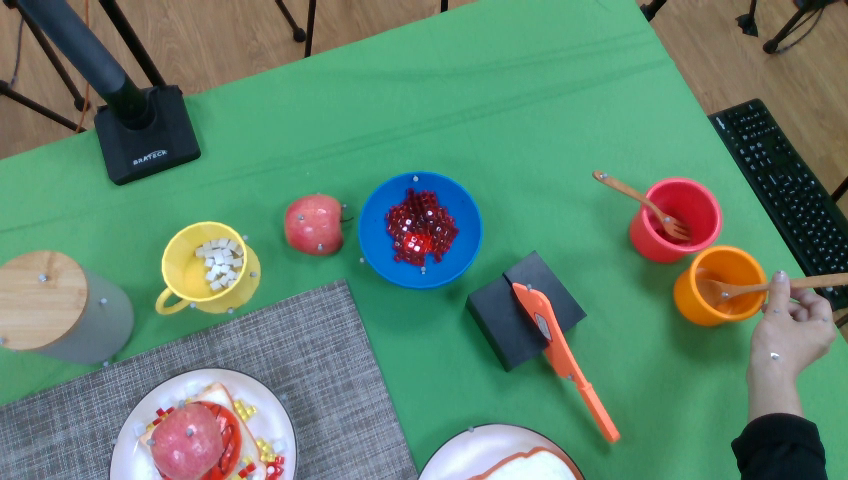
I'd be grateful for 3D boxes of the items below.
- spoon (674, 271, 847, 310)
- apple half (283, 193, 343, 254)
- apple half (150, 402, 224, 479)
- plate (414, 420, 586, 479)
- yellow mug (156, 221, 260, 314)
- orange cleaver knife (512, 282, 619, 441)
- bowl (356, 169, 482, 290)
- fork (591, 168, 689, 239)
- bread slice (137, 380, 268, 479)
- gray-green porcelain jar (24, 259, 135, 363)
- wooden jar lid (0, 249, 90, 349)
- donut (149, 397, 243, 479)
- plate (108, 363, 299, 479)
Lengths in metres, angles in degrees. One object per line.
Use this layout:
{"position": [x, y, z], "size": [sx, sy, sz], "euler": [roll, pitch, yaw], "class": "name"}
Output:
{"position": [0.391, 0.055, 0.707], "size": [0.022, 0.193, 0.041], "euler": [21, 66, -40], "class": "spoon"}
{"position": [-0.143, -0.026, 0.774], "size": [0.074, 0.053, 0.080], "euler": [0, 72, 2], "class": "apple half"}
{"position": [-0.250, 0.210, 0.629], "size": [0.081, 0.033, 0.081], "euler": [-2, 71, 6], "class": "apple half"}
{"position": [0.084, 0.309, 0.674], "size": [0.209, 0.038, 0.207], "euler": [0, 72, 0], "class": "plate"}
{"position": [-0.271, 0.044, 0.741], "size": [0.131, 0.064, 0.099], "euler": [-43, 77, -13], "class": "yellow mug"}
{"position": [0.162, 0.140, 0.709], "size": [0.012, 0.077, 0.212], "euler": [-31, 96, -18], "class": "orange cleaver knife"}
{"position": [-0.006, -0.003, 0.755], "size": [0.151, 0.077, 0.150], "euler": [0, 72, -1], "class": "bowl"}
{"position": [0.268, -0.043, 0.738], "size": [0.209, 0.018, 0.028], "euler": [25, 66, -37], "class": "fork"}
{"position": [-0.240, 0.241, 0.686], "size": [0.107, 0.018, 0.133], "euler": [-38, 78, -12], "class": "bread slice"}
{"position": [-0.403, 0.083, 0.693], "size": [0.106, 0.127, 0.105], "euler": [0, 71, -1], "class": "gray-green porcelain jar"}
{"position": [-0.403, 0.062, 0.633], "size": [0.108, 0.021, 0.107], "euler": [1, 69, -2], "class": "wooden jar lid"}
{"position": [-0.248, 0.222, 0.663], "size": [0.099, 0.048, 0.098], "euler": [0, 71, 0], "class": "donut"}
{"position": [-0.244, 0.245, 0.685], "size": [0.208, 0.039, 0.206], "euler": [0, 72, -1], "class": "plate"}
